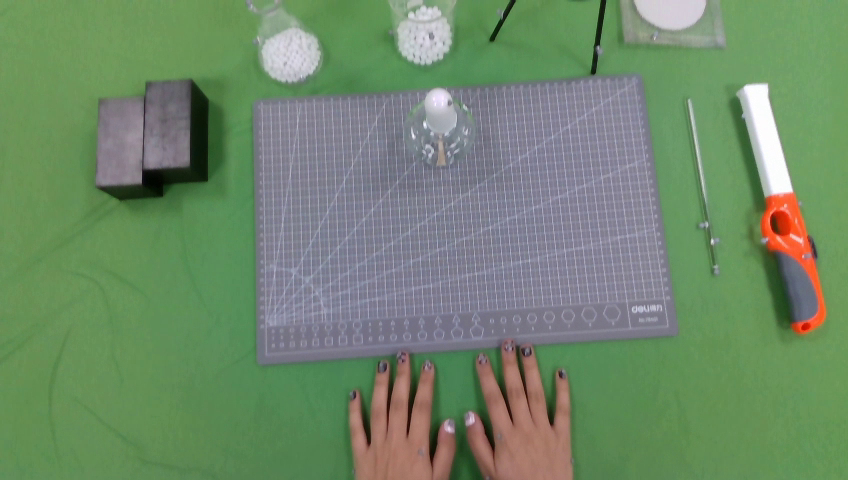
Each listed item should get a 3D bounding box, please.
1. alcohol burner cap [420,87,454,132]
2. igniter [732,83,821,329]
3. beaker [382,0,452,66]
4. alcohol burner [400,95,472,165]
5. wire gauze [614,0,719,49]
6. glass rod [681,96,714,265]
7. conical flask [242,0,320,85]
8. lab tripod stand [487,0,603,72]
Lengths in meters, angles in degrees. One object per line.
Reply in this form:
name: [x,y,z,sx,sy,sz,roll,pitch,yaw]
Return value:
alcohol burner cap: [0.012,-0.133,0.601,0.034,0.048,0.033,-2,74,6]
igniter: [0.386,-0.042,0.664,0.057,0.025,0.275,-6,79,-11]
beaker: [-0.003,-0.247,0.670,0.084,0.100,0.073,-30,80,-6]
alcohol burner: [0.013,-0.123,0.636,0.078,0.119,0.077,0,77,0]
wire gauze: [0.288,-0.287,0.722,0.125,0.011,0.121,1,80,-1]
glass rod: [0.307,-0.069,0.680,0.008,0.008,0.199,-4,79,-1]
conical flask: [-0.160,-0.227,0.655,0.075,0.122,0.075,0,78,1]
lab tripod stand: [0.144,-0.261,0.654,0.148,0.132,0.148,0,81,1]
